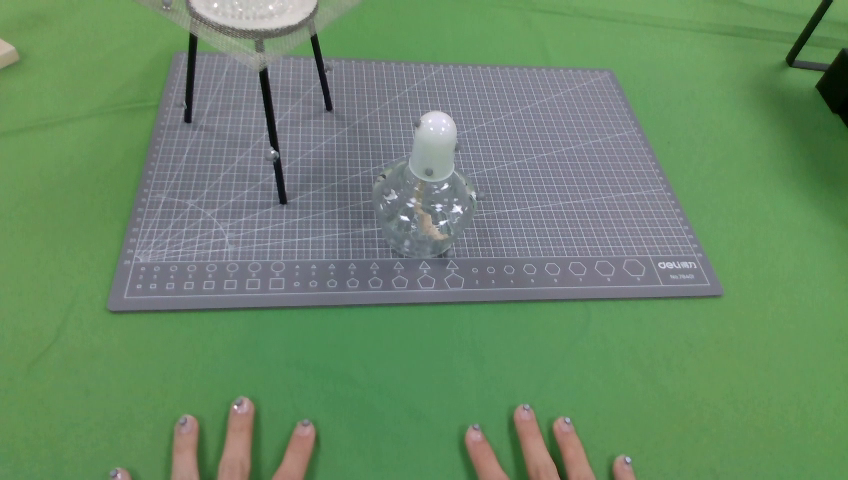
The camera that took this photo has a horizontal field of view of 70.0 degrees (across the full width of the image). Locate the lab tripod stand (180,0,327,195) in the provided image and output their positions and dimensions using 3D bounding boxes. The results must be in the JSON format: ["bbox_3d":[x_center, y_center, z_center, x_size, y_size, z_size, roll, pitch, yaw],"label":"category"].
[{"bbox_3d":[-0.127,-0.130,0.466,0.149,0.132,0.147,6,51,-7],"label":"lab tripod stand"}]

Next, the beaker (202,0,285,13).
[{"bbox_3d":[-0.120,-0.202,0.377,0.073,0.101,0.084,31,54,15],"label":"beaker"}]

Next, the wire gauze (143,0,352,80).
[{"bbox_3d":[-0.121,-0.171,0.416,0.124,0.011,0.121,32,56,12],"label":"wire gauze"}]

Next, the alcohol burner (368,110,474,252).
[{"bbox_3d":[0.000,-0.046,0.432,0.078,0.120,0.077,6,50,-6],"label":"alcohol burner"}]

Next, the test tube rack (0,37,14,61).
[{"bbox_3d":[-0.457,-0.137,0.453,0.066,0.086,0.241,30,53,15],"label":"test tube rack"}]

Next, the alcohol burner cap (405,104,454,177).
[{"bbox_3d":[0.005,-0.068,0.404,0.034,0.048,0.033,3,55,-4],"label":"alcohol burner cap"}]
